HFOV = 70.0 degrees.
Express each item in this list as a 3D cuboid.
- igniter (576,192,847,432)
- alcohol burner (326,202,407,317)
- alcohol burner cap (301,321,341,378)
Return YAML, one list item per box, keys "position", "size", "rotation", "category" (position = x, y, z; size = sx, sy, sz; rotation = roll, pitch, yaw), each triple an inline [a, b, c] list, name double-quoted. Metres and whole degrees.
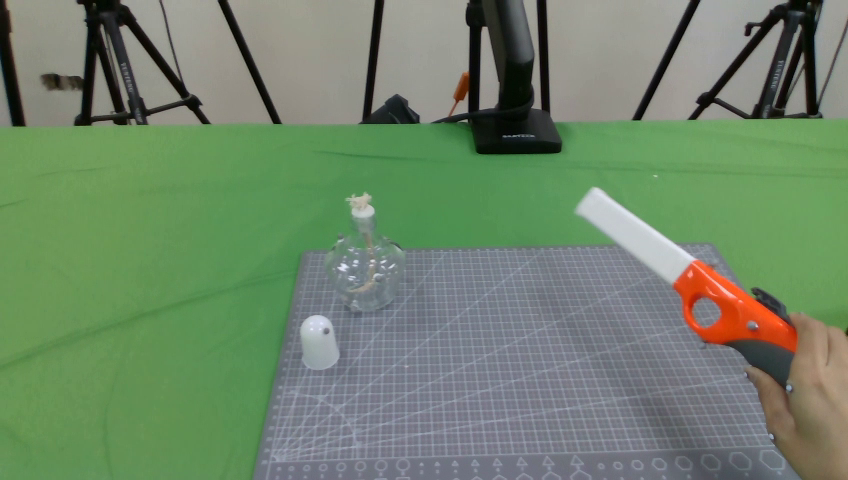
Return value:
- position: [0.218, 0.040, 0.485]
  size: [0.025, 0.057, 0.273]
  rotation: [23, 19, -40]
  category: "igniter"
- position: [-0.054, 0.014, 0.564]
  size: [0.078, 0.120, 0.077]
  rotation: [1, 38, -1]
  category: "alcohol burner"
- position: [-0.089, 0.090, 0.519]
  size: [0.034, 0.048, 0.033]
  rotation: [1, 36, 0]
  category: "alcohol burner cap"
